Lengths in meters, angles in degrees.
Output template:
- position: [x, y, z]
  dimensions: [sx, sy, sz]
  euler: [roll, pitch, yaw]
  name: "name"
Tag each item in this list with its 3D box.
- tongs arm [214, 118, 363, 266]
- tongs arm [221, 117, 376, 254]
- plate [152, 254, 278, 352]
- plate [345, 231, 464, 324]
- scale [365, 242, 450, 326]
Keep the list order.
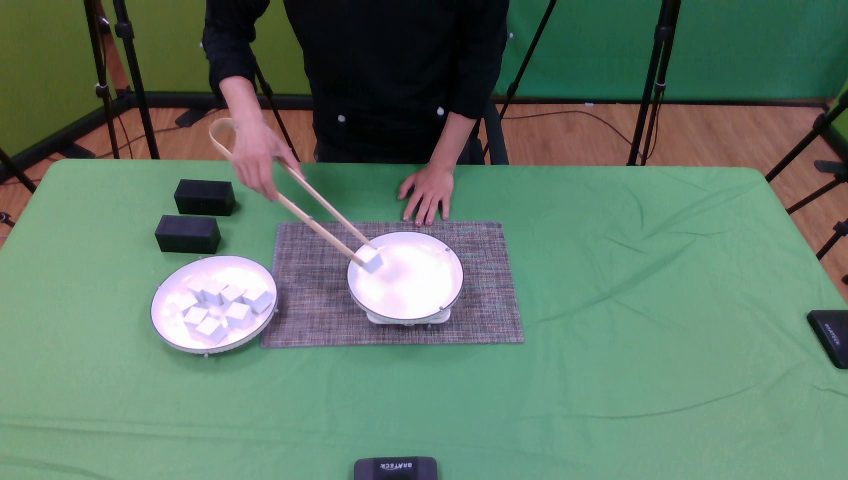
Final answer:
- position: [-0.238, -0.088, 1.061]
  dimensions: [0.383, 0.026, 0.050]
  euler: [37, 68, 13]
  name: "tongs arm"
- position: [-0.223, -0.102, 1.069]
  dimensions: [0.386, 0.028, 0.028]
  euler: [41, 72, 15]
  name: "tongs arm"
- position: [-0.357, 0.111, 1.052]
  dimensions: [0.208, 0.039, 0.206]
  euler: [2, 46, -2]
  name: "plate"
- position: [-0.034, 0.069, 1.069]
  dimensions: [0.209, 0.038, 0.208]
  euler: [2, 46, -2]
  name: "plate"
- position: [-0.032, 0.071, 1.113]
  dimensions: [0.149, 0.032, 0.199]
  euler: [0, 46, -4]
  name: "scale"
